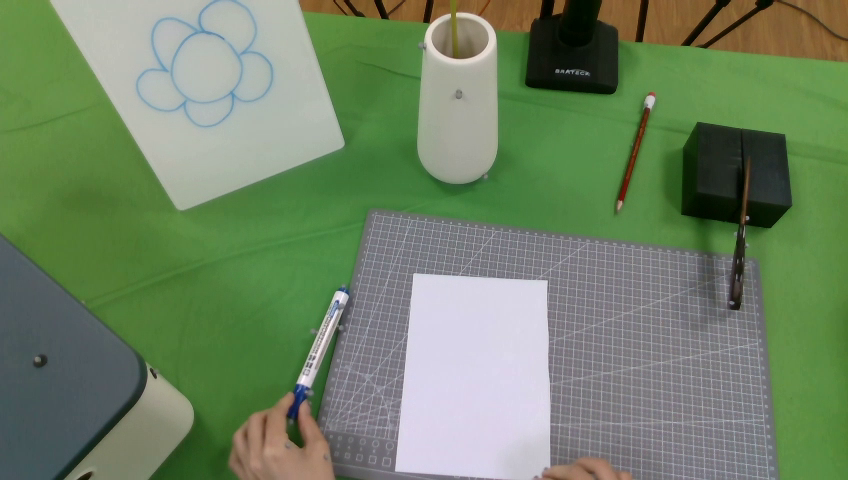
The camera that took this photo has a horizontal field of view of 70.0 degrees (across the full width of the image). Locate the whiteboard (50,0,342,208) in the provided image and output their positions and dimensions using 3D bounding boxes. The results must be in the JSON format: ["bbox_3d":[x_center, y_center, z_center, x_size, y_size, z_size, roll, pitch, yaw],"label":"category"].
[{"bbox_3d":[-0.252,-0.229,0.685,0.217,0.308,0.142,-24,46,-10],"label":"whiteboard"}]

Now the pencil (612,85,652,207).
[{"bbox_3d":[0.258,-0.120,0.753,0.012,0.012,0.193,19,66,11],"label":"pencil"}]

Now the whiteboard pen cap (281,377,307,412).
[{"bbox_3d":[-0.129,0.155,0.609,0.018,0.018,0.033,17,70,10],"label":"whiteboard pen cap"}]

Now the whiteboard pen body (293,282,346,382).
[{"bbox_3d":[-0.113,0.106,0.635,0.017,0.017,0.140,15,61,9],"label":"whiteboard pen body"}]

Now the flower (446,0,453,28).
[{"bbox_3d":[0.027,-0.207,0.602,0.044,0.365,0.038,1,45,6],"label":"flower"}]

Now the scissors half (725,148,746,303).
[{"bbox_3d":[0.343,-0.017,0.661,0.012,0.040,0.174,5,81,31],"label":"scissors half"}]

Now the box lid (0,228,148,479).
[{"bbox_3d":[-0.434,0.097,0.485,0.369,0.015,0.262,33,68,16],"label":"box lid"}]

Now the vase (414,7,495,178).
[{"bbox_3d":[0.034,-0.156,0.669,0.098,0.201,0.097,-1,62,2],"label":"vase"}]

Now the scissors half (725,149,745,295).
[{"bbox_3d":[0.334,-0.024,0.644,0.013,0.040,0.174,6,64,26],"label":"scissors half"}]

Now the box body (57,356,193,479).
[{"bbox_3d":[-0.431,0.132,0.551,0.362,0.161,0.253,33,68,16],"label":"box body"}]
